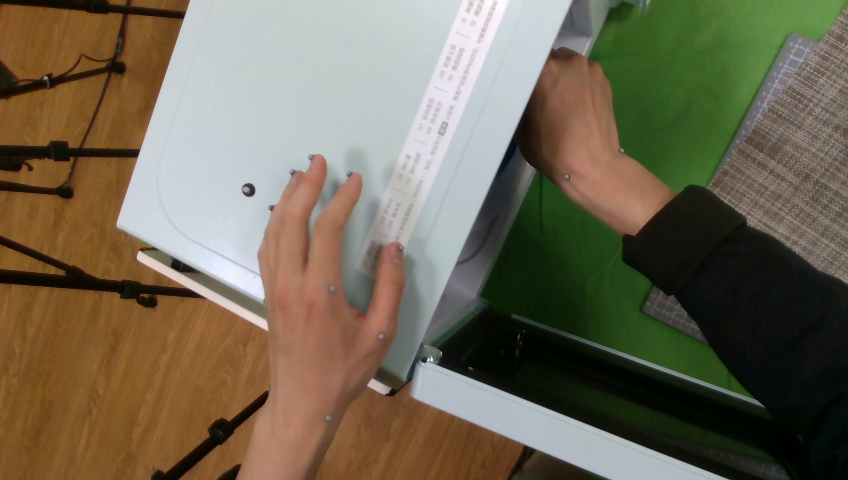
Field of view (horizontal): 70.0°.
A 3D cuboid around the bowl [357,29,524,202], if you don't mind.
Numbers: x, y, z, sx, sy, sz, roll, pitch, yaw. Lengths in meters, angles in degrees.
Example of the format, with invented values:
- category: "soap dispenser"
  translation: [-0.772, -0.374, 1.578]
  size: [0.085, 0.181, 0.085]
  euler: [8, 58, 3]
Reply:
- category: "bowl"
  translation: [0.022, -0.110, 0.564]
  size: [0.151, 0.077, 0.151]
  euler: [1, 94, 14]

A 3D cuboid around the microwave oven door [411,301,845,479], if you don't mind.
- category: "microwave oven door"
  translation: [0.188, 0.143, 0.502]
  size: [0.354, 0.244, 0.039]
  euler: [18, 98, 14]

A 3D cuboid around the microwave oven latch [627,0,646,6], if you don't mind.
- category: "microwave oven latch"
  translation: [0.212, -0.265, 0.568]
  size: [0.030, 0.029, 0.079]
  euler: [26, 101, 12]

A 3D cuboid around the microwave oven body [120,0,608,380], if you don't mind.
- category: "microwave oven body"
  translation: [-0.014, -0.161, 0.540]
  size: [0.325, 0.260, 0.442]
  euler: [25, 101, 12]
